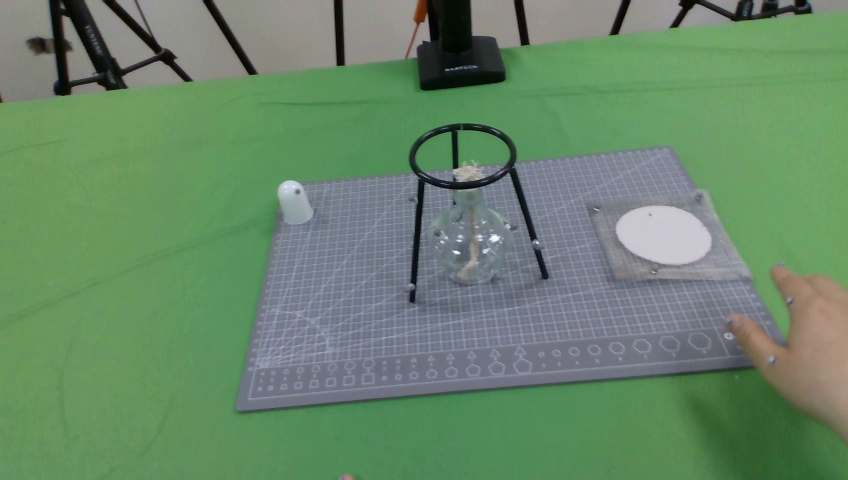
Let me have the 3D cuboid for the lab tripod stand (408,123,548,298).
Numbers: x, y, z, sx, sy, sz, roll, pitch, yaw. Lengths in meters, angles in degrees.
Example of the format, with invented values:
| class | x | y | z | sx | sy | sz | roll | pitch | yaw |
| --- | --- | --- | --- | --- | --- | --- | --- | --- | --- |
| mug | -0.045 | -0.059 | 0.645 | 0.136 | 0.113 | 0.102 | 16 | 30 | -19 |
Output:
| class | x | y | z | sx | sy | sz | roll | pitch | yaw |
| --- | --- | --- | --- | --- | --- | --- | --- | --- | --- |
| lab tripod stand | 0.042 | -0.026 | 0.542 | 0.148 | 0.133 | 0.147 | -3 | 42 | 3 |

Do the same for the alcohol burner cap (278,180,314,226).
| class | x | y | z | sx | sy | sz | roll | pitch | yaw |
| --- | --- | --- | --- | --- | --- | --- | --- | --- | --- |
| alcohol burner cap | -0.139 | -0.043 | 0.649 | 0.034 | 0.048 | 0.033 | -3 | 44 | 3 |

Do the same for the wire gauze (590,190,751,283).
| class | x | y | z | sx | sy | sz | roll | pitch | yaw |
| --- | --- | --- | --- | --- | --- | --- | --- | --- | --- |
| wire gauze | 0.233 | -0.004 | 0.586 | 0.125 | 0.011 | 0.120 | -2 | 44 | 2 |

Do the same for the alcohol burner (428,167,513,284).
| class | x | y | z | sx | sy | sz | roll | pitch | yaw |
| --- | --- | --- | --- | --- | --- | --- | --- | --- | --- |
| alcohol burner | 0.042 | -0.017 | 0.546 | 0.078 | 0.120 | 0.077 | -2 | 43 | 2 |
